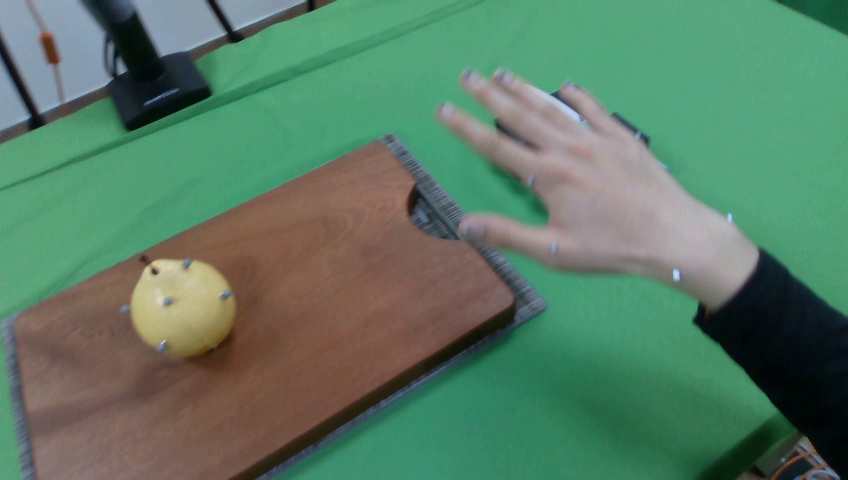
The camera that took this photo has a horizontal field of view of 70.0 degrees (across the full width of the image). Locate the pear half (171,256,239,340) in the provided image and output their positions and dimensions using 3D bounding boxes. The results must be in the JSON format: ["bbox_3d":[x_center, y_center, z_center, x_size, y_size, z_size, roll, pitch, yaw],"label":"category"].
[{"bbox_3d":[-0.176,0.042,0.507,0.031,0.089,0.069,-23,45,-7],"label":"pear half"}]

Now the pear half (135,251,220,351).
[{"bbox_3d":[-0.212,0.047,0.496,0.056,0.111,0.075,-22,47,-7],"label":"pear half"}]

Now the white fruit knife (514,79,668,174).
[{"bbox_3d":[0.156,-0.120,0.609,0.027,0.016,0.205,-22,46,-24],"label":"white fruit knife"}]
